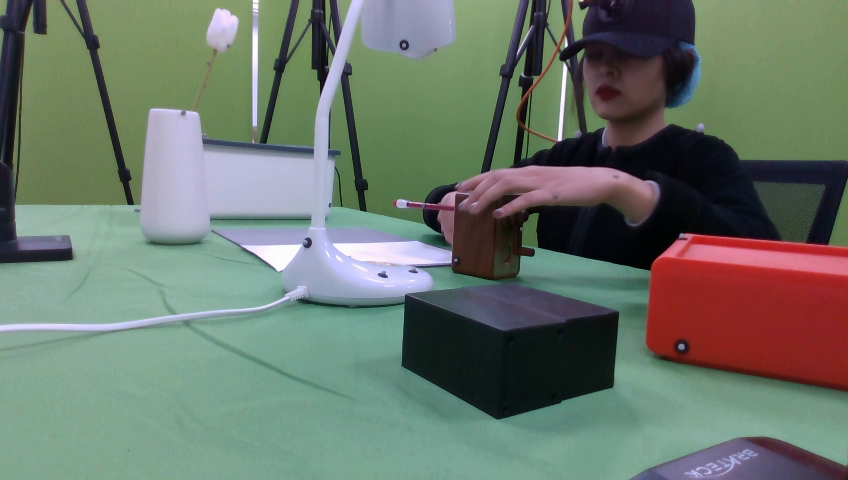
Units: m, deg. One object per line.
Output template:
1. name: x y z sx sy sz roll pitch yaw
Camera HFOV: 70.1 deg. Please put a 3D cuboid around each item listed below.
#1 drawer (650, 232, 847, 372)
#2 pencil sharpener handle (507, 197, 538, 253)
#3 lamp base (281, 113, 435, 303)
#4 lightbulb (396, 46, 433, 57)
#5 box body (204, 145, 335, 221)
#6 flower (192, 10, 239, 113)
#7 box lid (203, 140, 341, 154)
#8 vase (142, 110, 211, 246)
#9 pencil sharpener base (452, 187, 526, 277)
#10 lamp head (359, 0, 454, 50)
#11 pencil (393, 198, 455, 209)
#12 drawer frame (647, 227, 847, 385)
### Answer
1. drawer: 0.303 0.044 0.499 0.194 0.073 0.212 6 9 27
2. pencil sharpener handle: 0.123 -0.018 0.730 0.030 0.068 0.036 9 18 42
3. lamp base: -0.071 -0.035 0.614 0.160 0.180 0.180 6 10 27
4. lightbulb: -0.018 -0.265 0.692 0.059 0.108 0.059 -10 28 6
5. box body: -0.411 -0.135 1.386 0.366 0.160 0.253 -2 9 -29
6. flower: -0.354 -0.174 0.915 0.038 0.361 0.044 18 -3 12
7. box lid: -0.396 -0.212 1.373 0.373 0.015 0.262 -1 9 -29
8. vase: -0.378 -0.093 0.920 0.098 0.200 0.098 2 9 0
9. pencil sharpener base: 0.084 -0.011 0.764 0.076 0.107 0.062 9 10 42
10. lamp head: -0.024 -0.283 0.674 0.112 0.123 0.112 -3 38 3
11. pencil: 0.027 -0.047 0.815 0.193 0.012 0.012 8 9 43
12. drawer frame: 0.303 0.043 0.495 0.201 0.082 0.214 6 9 26
